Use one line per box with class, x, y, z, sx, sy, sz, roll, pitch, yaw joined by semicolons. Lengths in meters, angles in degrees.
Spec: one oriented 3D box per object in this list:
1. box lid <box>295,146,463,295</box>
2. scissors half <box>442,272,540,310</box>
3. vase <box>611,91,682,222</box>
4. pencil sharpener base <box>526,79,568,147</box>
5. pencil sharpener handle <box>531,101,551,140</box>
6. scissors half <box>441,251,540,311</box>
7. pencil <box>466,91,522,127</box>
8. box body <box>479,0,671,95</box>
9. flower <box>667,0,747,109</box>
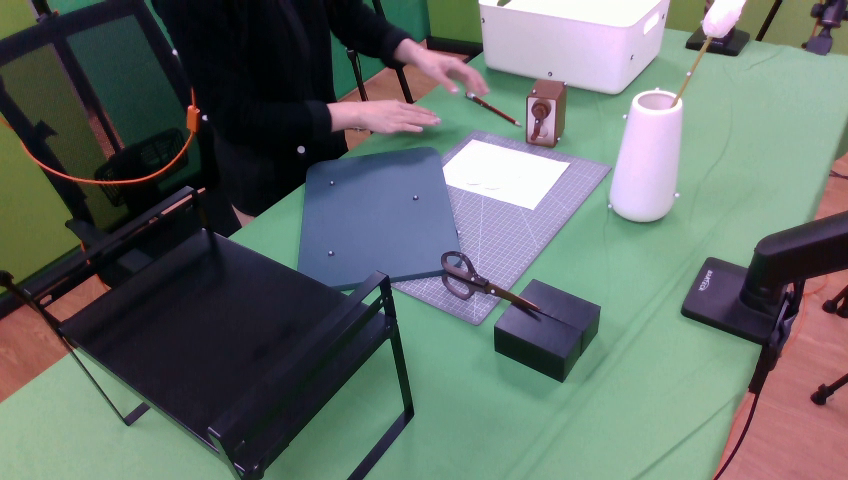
box lid;-0.084;-0.048;1.052;0.263;0.015;0.369;-9;40;0
scissors half;0.089;0.074;0.832;0.013;0.040;0.173;-24;23;-38
vase;0.348;-0.125;0.935;0.098;0.201;0.097;-3;40;3
pencil sharpener base;0.235;-0.242;1.160;0.061;0.107;0.077;12;45;21
pencil sharpener handle;0.211;-0.220;1.118;0.036;0.068;0.030;17;46;17
scissors half;0.087;0.056;0.824;0.013;0.040;0.173;-30;44;-35
pencil;0.149;-0.281;1.296;0.012;0.012;0.192;-26;46;-21
box body;0.339;-0.480;1.381;0.361;0.161;0.255;22;48;30
flower;0.354;-0.187;0.879;0.038;0.362;0.044;31;48;14
